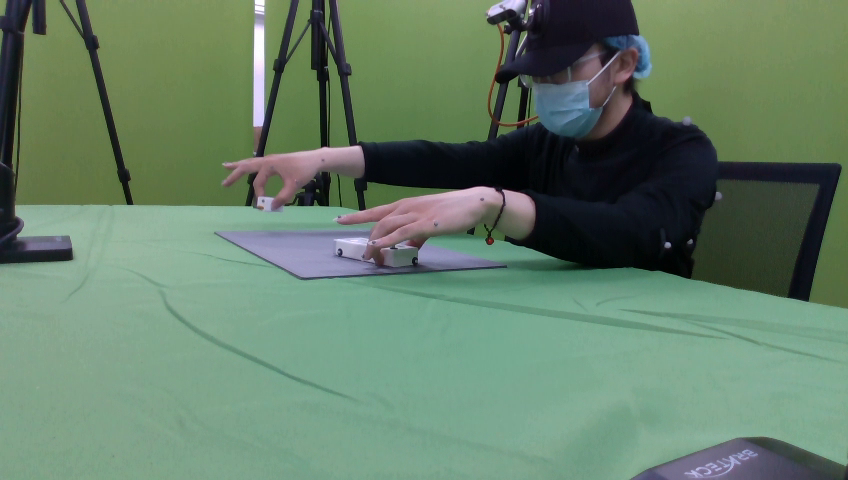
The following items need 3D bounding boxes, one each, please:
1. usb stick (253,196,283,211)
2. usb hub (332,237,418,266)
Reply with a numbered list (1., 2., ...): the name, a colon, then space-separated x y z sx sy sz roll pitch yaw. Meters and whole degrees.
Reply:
1. usb stick: -0.284 -0.065 1.097 0.021 0.027 0.059 13 11 31
2. usb hub: -0.070 0.015 0.834 0.124 0.025 0.050 8 9 42
